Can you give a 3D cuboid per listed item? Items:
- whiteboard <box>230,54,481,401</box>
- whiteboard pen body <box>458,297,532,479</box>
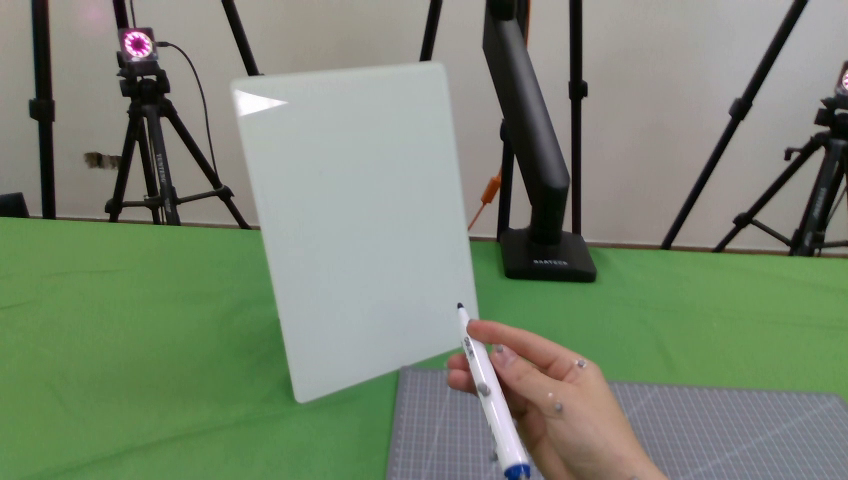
[{"bbox_3d":[-0.081,-0.025,0.651,0.218,0.306,0.143,-14,14,-26],"label":"whiteboard"},{"bbox_3d":[0.040,0.087,0.386,0.017,0.017,0.139,-4,42,-12],"label":"whiteboard pen body"}]
